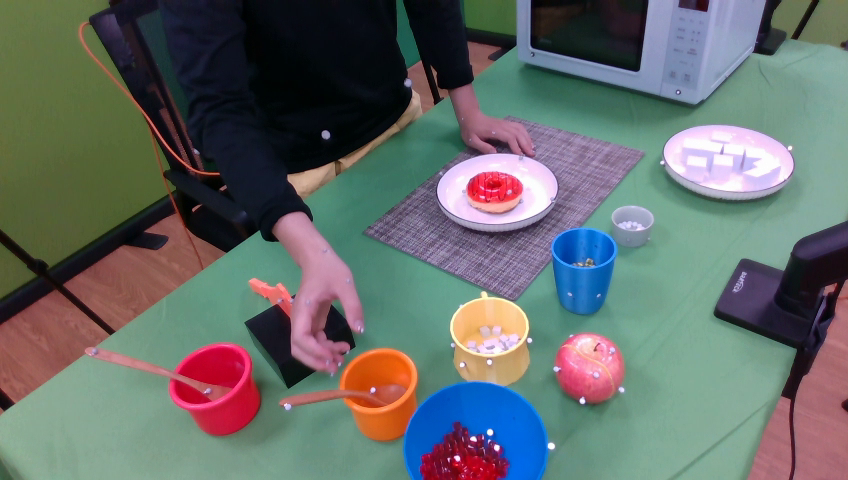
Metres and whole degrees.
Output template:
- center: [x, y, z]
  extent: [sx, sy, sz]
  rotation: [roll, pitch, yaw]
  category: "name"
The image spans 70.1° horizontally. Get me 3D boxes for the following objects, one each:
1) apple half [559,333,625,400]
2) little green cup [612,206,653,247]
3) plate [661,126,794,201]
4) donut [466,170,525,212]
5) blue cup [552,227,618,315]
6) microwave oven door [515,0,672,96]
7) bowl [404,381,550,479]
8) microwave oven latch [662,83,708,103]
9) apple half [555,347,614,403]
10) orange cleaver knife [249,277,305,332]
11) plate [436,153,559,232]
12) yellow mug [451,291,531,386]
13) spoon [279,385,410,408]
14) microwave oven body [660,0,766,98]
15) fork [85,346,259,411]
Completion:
- center: [0.208, 0.147, 0.730]
  extent: [0.080, 0.075, 0.053]
  rotation: [26, 47, 38]
  category: "apple half"
- center: [0.321, -0.019, 0.936]
  extent: [0.061, 0.039, 0.061]
  rotation: [-4, 41, 4]
  category: "little green cup"
- center: [0.513, -0.128, 1.035]
  extent: [0.207, 0.039, 0.206]
  rotation: [-4, 40, 4]
  category: "plate"
- center: [0.121, -0.083, 1.019]
  extent: [0.099, 0.048, 0.098]
  rotation: [-4, 38, 4]
  category: "donut"
- center: [0.218, 0.047, 0.825]
  extent: [0.092, 0.101, 0.092]
  rotation: [-6, 39, 5]
  category: "blue cup"
- center: [0.344, -0.455, 1.259]
  extent: [0.353, 0.245, 0.039]
  rotation: [26, 51, 33]
  category: "microwave oven door"
- center: [0.058, 0.235, 0.645]
  extent: [0.151, 0.077, 0.150]
  rotation: [-4, 39, 4]
  category: "bowl"
- center: [0.518, -0.297, 1.205]
  extent: [0.078, 0.029, 0.030]
  rotation: [29, 53, 36]
  category: "microwave oven latch"
- center: [0.181, 0.168, 0.709]
  extent: [0.080, 0.081, 0.033]
  rotation: [29, 52, 35]
  category: "apple half"
- center: [-0.210, 0.088, 0.856]
  extent: [0.012, 0.077, 0.210]
  rotation: [-28, 15, -25]
  category: "orange cleaver knife"
- center: [0.125, -0.078, 1.029]
  extent: [0.209, 0.038, 0.208]
  rotation: [-4, 40, 4]
  category: "plate"
- center: [0.086, 0.120, 0.786]
  extent: [0.100, 0.064, 0.130]
  rotation: [-7, 39, 1]
  category: "yellow mug"
- center: [-0.085, 0.176, 0.681]
  extent: [0.041, 0.195, 0.021]
  rotation: [34, 99, 38]
  category: "spoon"
- center: [0.472, -0.513, 1.317]
  extent: [0.438, 0.261, 0.327]
  rotation: [26, 51, 34]
  category: "microwave oven body"
- center: [-0.298, 0.166, 0.727]
  extent: [0.209, 0.018, 0.028]
  rotation: [28, 48, -23]
  category: "fork"
